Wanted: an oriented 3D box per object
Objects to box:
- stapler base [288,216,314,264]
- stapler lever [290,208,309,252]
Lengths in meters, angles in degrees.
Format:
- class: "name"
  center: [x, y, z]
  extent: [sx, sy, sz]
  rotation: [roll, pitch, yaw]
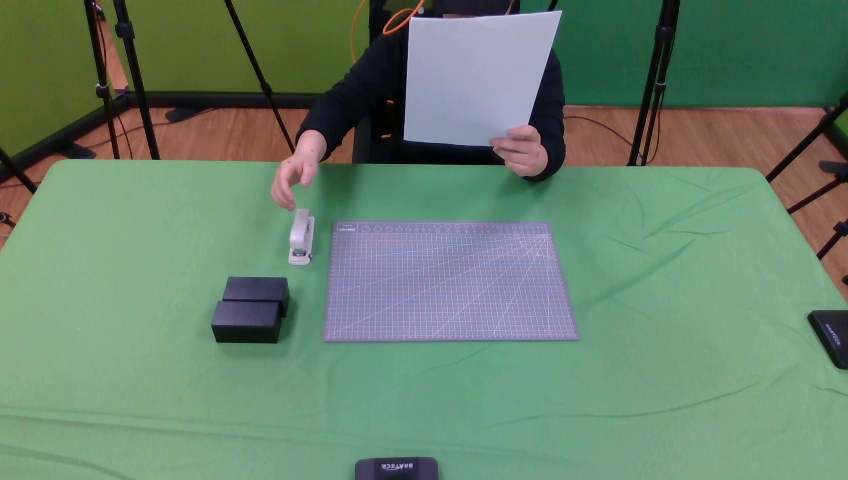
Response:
- class: "stapler base"
  center: [-0.240, -0.007, 1.185]
  extent: [0.041, 0.024, 0.129]
  rotation: [1, 44, -6]
- class: "stapler lever"
  center: [-0.240, -0.026, 1.168]
  extent: [0.027, 0.040, 0.117]
  rotation: [1, 44, -6]
